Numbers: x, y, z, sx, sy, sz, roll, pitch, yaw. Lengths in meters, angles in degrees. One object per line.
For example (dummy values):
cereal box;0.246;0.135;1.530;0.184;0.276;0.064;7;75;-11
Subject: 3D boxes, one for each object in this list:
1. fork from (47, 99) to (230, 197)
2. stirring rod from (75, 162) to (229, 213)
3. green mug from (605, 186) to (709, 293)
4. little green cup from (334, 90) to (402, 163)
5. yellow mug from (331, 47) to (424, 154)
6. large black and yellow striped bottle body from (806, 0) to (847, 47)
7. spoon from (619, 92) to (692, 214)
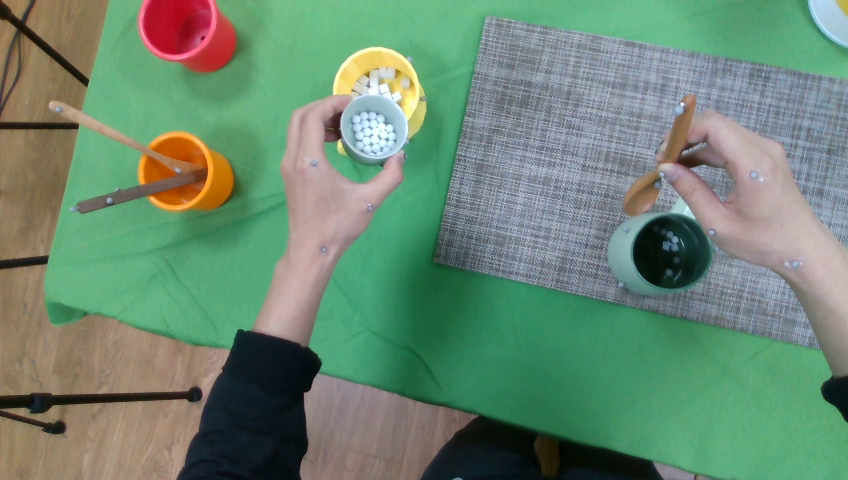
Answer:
fork;-0.321;-0.104;0.696;0.209;0.018;0.028;30;88;-37
stirring rod;-0.308;-0.063;0.699;0.176;0.006;0.014;-24;86;-37
green mug;0.256;-0.002;0.649;0.092;0.105;0.125;29;91;7
little green cup;-0.053;-0.101;0.557;0.062;0.038;0.061;2;78;-12
yellow mug;-0.062;-0.155;0.712;0.100;0.064;0.131;38;94;5
large black and yellow striped bottle body;0.486;-0.280;0.595;0.130;0.184;0.130;0;88;7
spoon;0.181;-0.061;0.470;0.041;0.195;0.021;-32;73;-2
